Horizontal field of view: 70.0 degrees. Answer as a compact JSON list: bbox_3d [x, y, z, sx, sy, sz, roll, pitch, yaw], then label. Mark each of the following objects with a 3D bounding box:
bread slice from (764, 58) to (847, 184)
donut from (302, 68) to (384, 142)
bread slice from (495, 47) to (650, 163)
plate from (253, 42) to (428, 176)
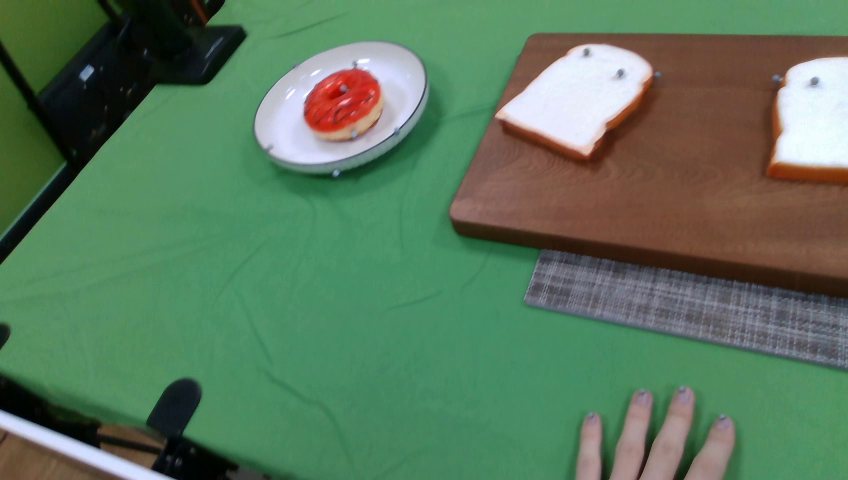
[{"bbox_3d":[0.335,-0.099,0.487,0.104,0.019,0.130,7,57,22],"label":"bread slice"},{"bbox_3d":[-0.092,-0.153,0.685,0.099,0.049,0.098,-11,51,14],"label":"donut"},{"bbox_3d":[0.147,-0.135,0.580,0.106,0.018,0.134,29,68,34],"label":"bread slice"},{"bbox_3d":[-0.093,-0.148,0.696,0.209,0.038,0.207,-9,51,12],"label":"plate"}]
